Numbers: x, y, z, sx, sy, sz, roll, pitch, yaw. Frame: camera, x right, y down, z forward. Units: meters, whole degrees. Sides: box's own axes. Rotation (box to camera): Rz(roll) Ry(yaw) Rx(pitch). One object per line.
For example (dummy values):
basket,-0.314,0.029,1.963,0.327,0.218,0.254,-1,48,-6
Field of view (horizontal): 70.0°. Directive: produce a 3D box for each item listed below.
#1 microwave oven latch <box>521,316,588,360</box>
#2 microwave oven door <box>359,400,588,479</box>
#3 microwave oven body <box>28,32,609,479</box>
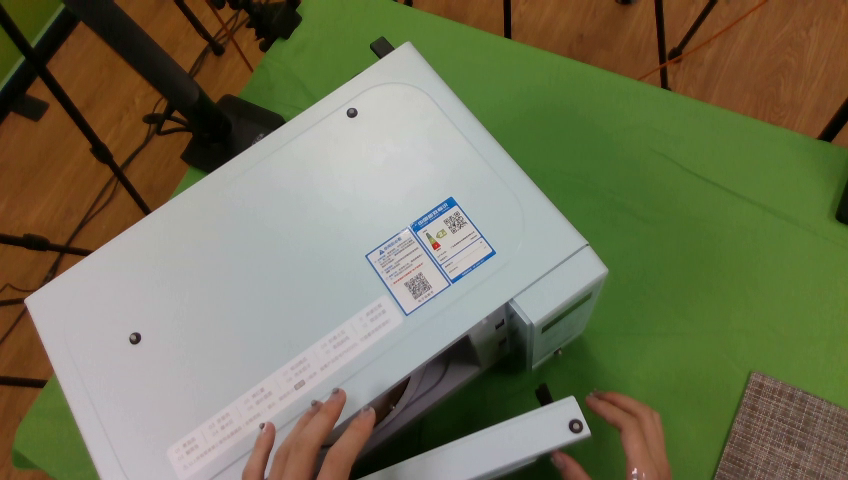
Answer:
microwave oven latch,0.149,0.103,0.691,0.079,0.030,0.030,-34,69,-3
microwave oven door,-0.029,0.228,0.564,0.356,0.245,0.039,-21,68,1
microwave oven body,-0.094,0.063,0.640,0.441,0.262,0.323,-36,69,-4
